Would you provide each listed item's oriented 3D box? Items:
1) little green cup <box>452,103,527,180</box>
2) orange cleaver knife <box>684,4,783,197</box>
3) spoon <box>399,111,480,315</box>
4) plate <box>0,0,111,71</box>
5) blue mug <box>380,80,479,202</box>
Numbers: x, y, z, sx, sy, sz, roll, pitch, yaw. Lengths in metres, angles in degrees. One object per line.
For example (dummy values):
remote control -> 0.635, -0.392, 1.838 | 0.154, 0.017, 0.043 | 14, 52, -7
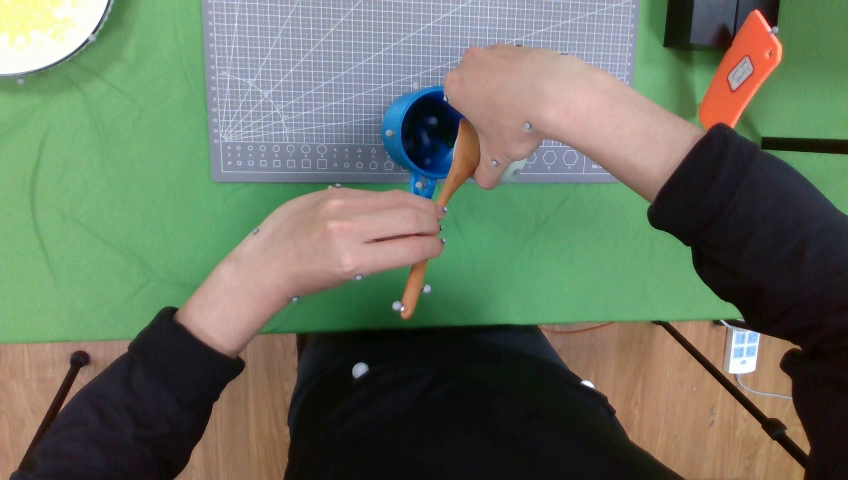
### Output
little green cup -> 0.057, -0.082, 0.519 | 0.039, 0.061, 0.061 | 19, 98, -35
orange cleaver knife -> 0.324, -0.144, 0.662 | 0.012, 0.076, 0.213 | -2, 134, -12
spoon -> 0.013, -0.026, 0.461 | 0.042, 0.021, 0.192 | 58, 45, -46
plate -> -0.371, -0.251, 0.516 | 0.210, 0.038, 0.210 | -3, 103, -11
blue mug -> 0.002, -0.095, 0.593 | 0.082, 0.105, 0.117 | 7, 101, -13
